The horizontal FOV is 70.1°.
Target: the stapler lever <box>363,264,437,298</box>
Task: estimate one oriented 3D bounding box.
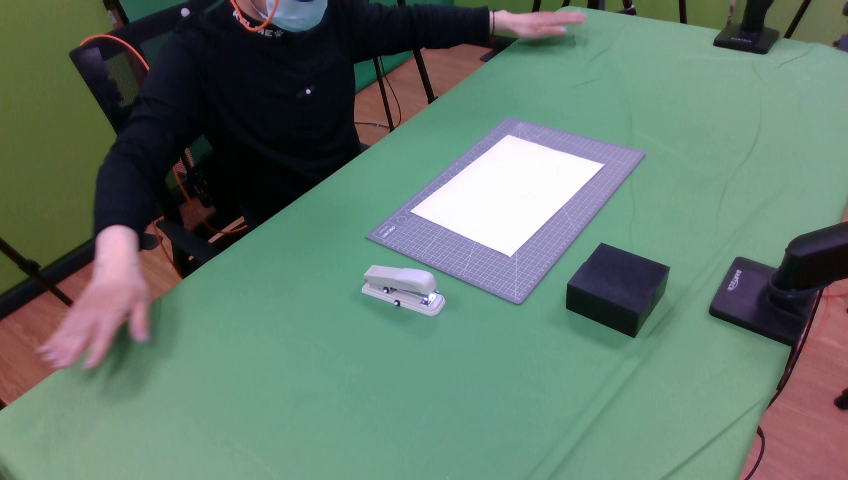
[{"bbox_3d":[-0.036,0.054,0.873,0.117,0.040,0.027,14,42,26],"label":"stapler lever"}]

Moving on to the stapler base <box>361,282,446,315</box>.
[{"bbox_3d":[-0.032,0.073,0.889,0.130,0.024,0.041,14,42,26],"label":"stapler base"}]
